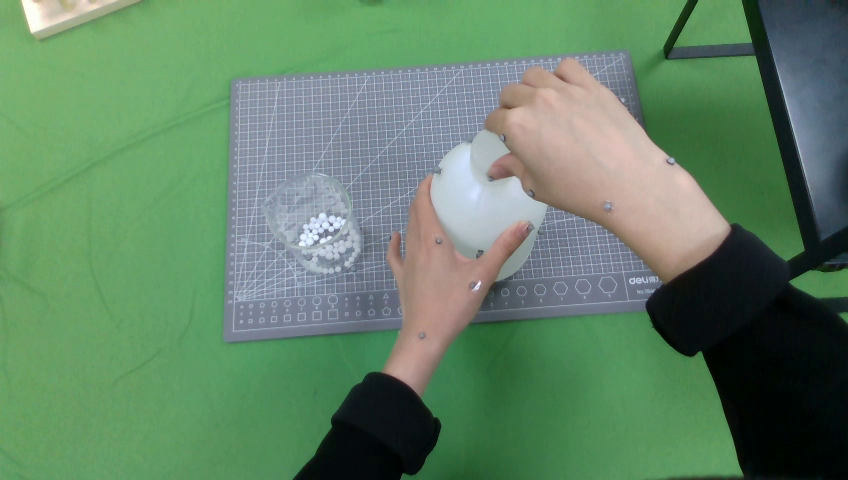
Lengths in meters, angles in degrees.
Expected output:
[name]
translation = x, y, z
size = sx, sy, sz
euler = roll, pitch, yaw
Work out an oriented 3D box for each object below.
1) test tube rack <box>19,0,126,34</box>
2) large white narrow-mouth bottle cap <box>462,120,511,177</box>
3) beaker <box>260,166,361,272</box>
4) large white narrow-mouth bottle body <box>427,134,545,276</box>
[test tube rack]
translation = -0.362, -0.331, 0.693
size = 0.242, 0.085, 0.066
euler = -25, 73, -7
[large white narrow-mouth bottle cap]
translation = 0.046, -0.066, 0.443
size = 0.038, 0.024, 0.037
euler = -1, 73, 3
[beaker]
translation = -0.103, -0.015, 0.576
size = 0.084, 0.101, 0.073
euler = 7, 71, 4
[large white narrow-mouth bottle body]
translation = 0.053, -0.037, 0.531
size = 0.102, 0.196, 0.101
euler = -1, 72, 4
